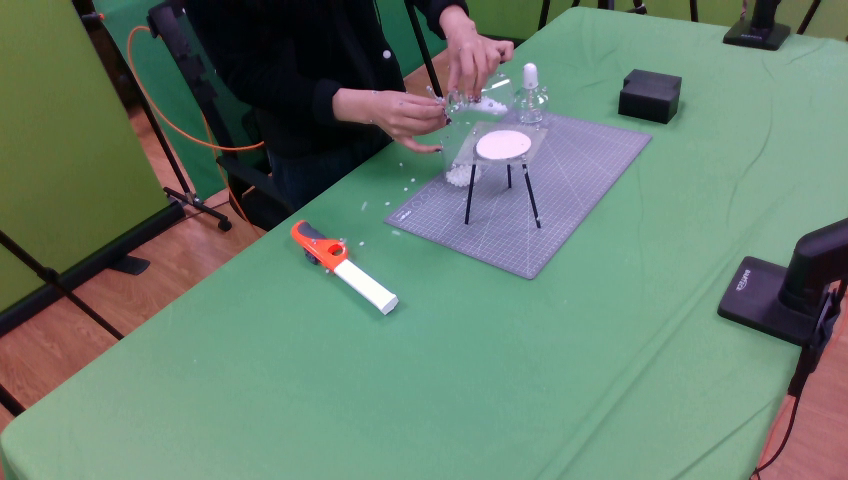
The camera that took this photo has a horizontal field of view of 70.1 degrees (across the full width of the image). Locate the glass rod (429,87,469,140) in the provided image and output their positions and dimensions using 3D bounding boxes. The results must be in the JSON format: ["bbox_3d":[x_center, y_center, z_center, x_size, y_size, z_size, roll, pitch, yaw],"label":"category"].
[{"bbox_3d":[0.045,-0.206,1.008,0.008,0.201,0.008,-5,75,20],"label":"glass rod"}]

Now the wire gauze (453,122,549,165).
[{"bbox_3d":[0.121,-0.150,0.942,0.121,0.011,0.125,8,42,21],"label":"wire gauze"}]

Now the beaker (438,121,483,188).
[{"bbox_3d":[0.066,-0.149,1.083,0.073,0.101,0.084,20,49,31],"label":"beaker"}]

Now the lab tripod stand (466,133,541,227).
[{"bbox_3d":[0.129,-0.099,0.985,0.148,0.132,0.147,-6,38,6],"label":"lab tripod stand"}]

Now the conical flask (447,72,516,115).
[{"bbox_3d":[0.095,-0.246,1.041,0.123,0.075,0.074,-19,38,-39],"label":"conical flask"}]

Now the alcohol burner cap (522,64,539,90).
[{"bbox_3d":[0.210,-0.325,1.195,0.034,0.048,0.033,-6,45,7],"label":"alcohol burner cap"}]

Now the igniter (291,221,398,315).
[{"bbox_3d":[-0.136,0.037,0.962,0.057,0.025,0.274,-41,48,-18],"label":"igniter"}]

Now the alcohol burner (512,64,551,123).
[{"bbox_3d":[0.215,-0.298,1.220,0.078,0.120,0.077,-7,40,7],"label":"alcohol burner"}]
